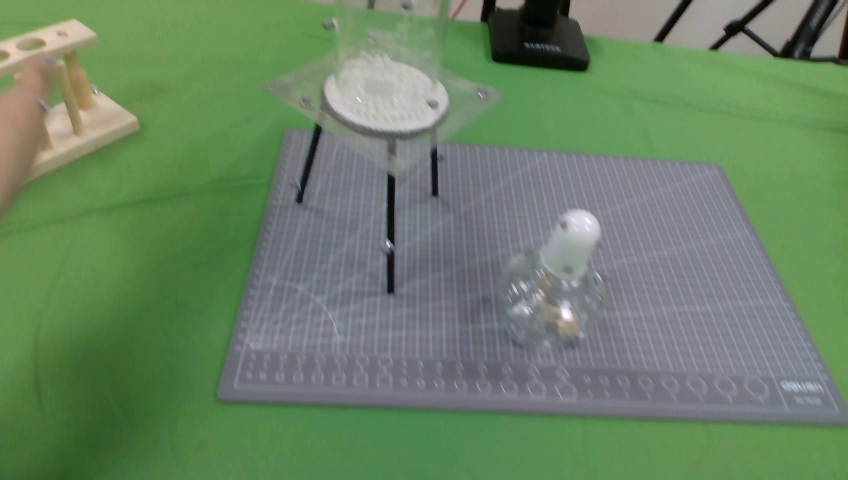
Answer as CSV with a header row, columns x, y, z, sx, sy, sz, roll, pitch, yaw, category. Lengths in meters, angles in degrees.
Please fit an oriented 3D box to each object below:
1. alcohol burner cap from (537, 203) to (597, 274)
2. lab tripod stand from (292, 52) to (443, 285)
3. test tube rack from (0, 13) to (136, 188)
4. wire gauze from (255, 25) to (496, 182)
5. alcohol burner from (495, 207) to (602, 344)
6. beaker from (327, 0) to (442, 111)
x,y,z,sx,sy,sz,roll,pitch,yaw,category
0.096,-0.003,0.399,0.034,0.048,0.033,4,51,-5,alcohol burner cap
-0.036,-0.061,0.467,0.149,0.132,0.147,6,48,-6,lab tripod stand
-0.364,-0.090,0.478,0.066,0.086,0.242,34,51,21,test tube rack
-0.031,-0.105,0.419,0.124,0.011,0.121,36,55,18,wire gauze
0.092,0.020,0.426,0.078,0.120,0.077,6,46,-6,alcohol burner
-0.028,-0.140,0.384,0.084,0.101,0.073,0,48,-9,beaker
